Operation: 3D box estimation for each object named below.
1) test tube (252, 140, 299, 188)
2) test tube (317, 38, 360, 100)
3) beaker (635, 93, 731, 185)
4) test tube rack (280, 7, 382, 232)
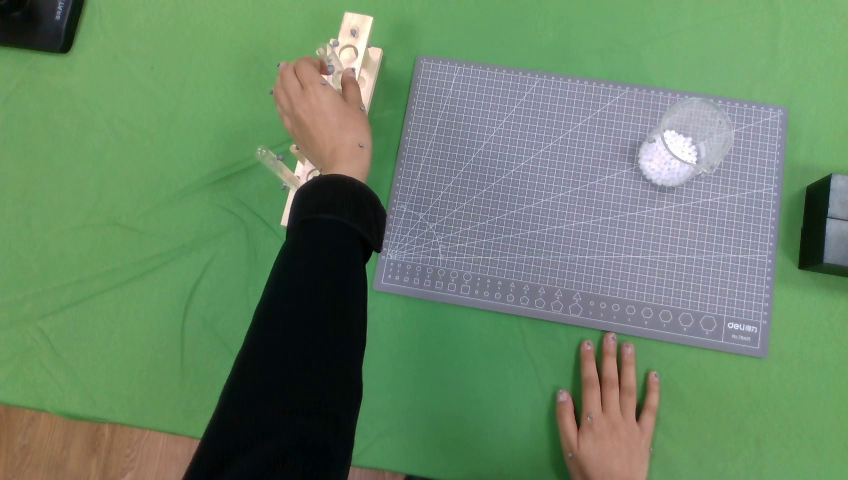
[{"bbox_3d":[-0.154,-0.078,0.649,0.017,0.151,0.017,0,81,3],"label":"test tube"},{"bbox_3d":[-0.090,-0.181,0.656,0.017,0.150,0.017,0,85,5],"label":"test tube"},{"bbox_3d":[0.282,-0.103,0.669,0.074,0.100,0.083,-19,80,0],"label":"beaker"},{"bbox_3d":[-0.114,-0.139,0.702,0.066,0.085,0.241,13,81,5],"label":"test tube rack"}]
